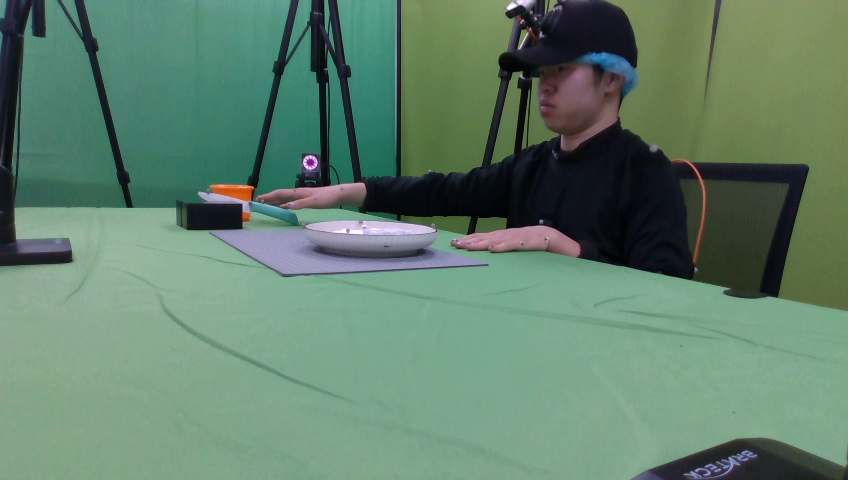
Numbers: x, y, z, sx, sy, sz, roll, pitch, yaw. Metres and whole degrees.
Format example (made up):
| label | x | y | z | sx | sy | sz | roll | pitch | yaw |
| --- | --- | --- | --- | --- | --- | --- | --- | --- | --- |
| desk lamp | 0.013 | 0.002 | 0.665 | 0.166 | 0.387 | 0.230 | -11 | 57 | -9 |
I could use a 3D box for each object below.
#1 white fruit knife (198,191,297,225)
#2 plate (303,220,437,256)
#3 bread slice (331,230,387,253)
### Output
| label | x | y | z | sx | sy | sz | roll | pitch | yaw |
| --- | --- | --- | --- | --- | --- | --- | --- | --- | --- |
| white fruit knife | -0.351 | -0.067 | 1.224 | 0.208 | 0.027 | 0.016 | 15 | -1 | -33 |
| plate | -0.084 | -0.003 | 0.951 | 0.209 | 0.038 | 0.209 | 3 | 7 | 0 |
| bread slice | -0.088 | 0.000 | 0.947 | 0.105 | 0.019 | 0.131 | -4 | 11 | -44 |
